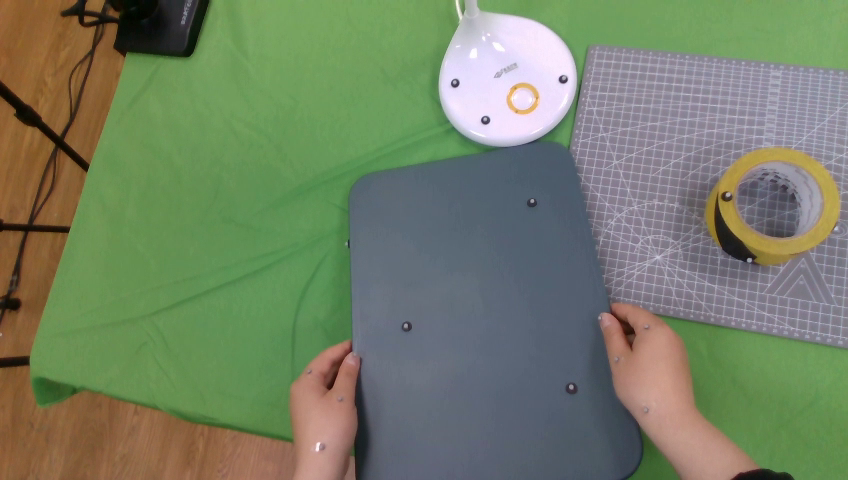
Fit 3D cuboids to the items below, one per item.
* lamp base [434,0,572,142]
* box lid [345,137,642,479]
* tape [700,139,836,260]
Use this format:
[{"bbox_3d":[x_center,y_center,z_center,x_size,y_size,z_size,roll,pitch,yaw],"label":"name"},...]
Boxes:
[{"bbox_3d":[0.069,-0.216,0.638,0.160,0.181,0.178,-40,71,-1],"label":"lamp base"},{"bbox_3d":[0.051,0.060,0.622,0.263,0.015,0.368,-10,62,6],"label":"box lid"},{"bbox_3d":[0.344,-0.041,0.612,0.116,0.053,0.116,-2,76,9],"label":"tape"}]
